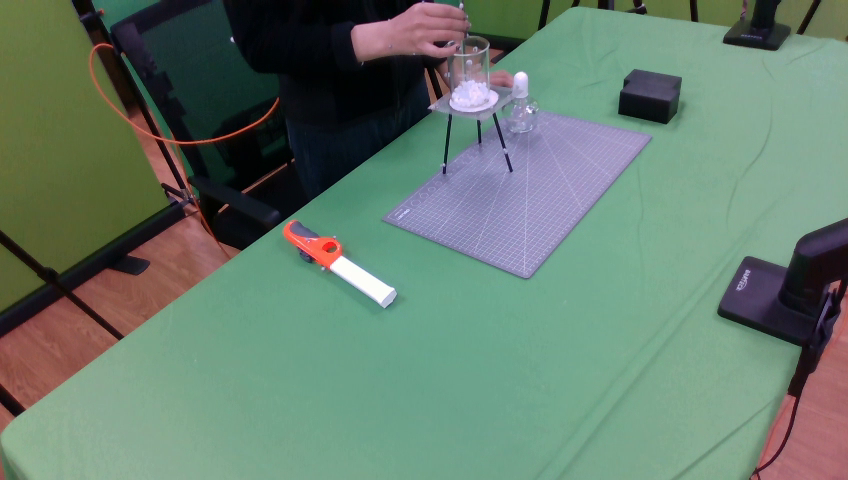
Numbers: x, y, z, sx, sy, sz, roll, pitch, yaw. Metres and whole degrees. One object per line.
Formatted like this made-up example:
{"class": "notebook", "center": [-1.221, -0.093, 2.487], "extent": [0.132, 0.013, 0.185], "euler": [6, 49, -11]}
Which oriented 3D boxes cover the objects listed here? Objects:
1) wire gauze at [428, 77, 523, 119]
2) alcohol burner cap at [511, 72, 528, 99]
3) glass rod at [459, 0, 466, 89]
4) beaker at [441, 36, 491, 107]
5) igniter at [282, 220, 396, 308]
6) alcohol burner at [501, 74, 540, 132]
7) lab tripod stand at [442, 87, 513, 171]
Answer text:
{"class": "wire gauze", "center": [0.091, -0.249, 1.063], "extent": [0.120, 0.011, 0.125], "euler": [24, 48, 30]}
{"class": "alcohol burner cap", "center": [0.185, -0.302, 1.171], "extent": [0.034, 0.048, 0.033], "euler": [-2, 42, 2]}
{"class": "glass rod", "center": [0.063, -0.340, 1.005], "extent": [0.008, 0.200, 0.008], "euler": [-3, 43, 3]}
{"class": "beaker", "center": [0.074, -0.286, 1.036], "extent": [0.084, 0.101, 0.073], "euler": [-1, 41, 8]}
{"class": "igniter", "center": [-0.146, 0.032, 0.966], "extent": [0.274, 0.025, 0.057], "euler": [30, 64, 37]}
{"class": "alcohol burner", "center": [0.191, -0.275, 1.194], "extent": [0.078, 0.119, 0.077], "euler": [-4, 42, 4]}
{"class": "lab tripod stand", "center": [0.097, -0.200, 1.108], "extent": [0.148, 0.132, 0.147], "euler": [-4, 40, 4]}
